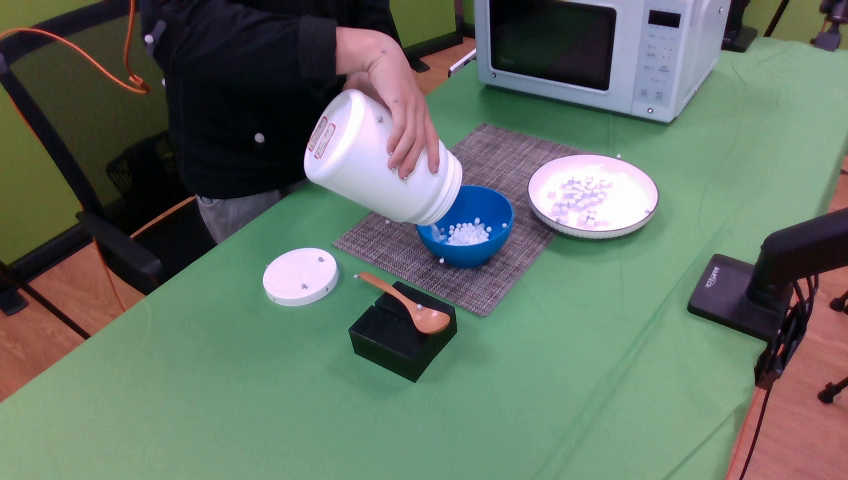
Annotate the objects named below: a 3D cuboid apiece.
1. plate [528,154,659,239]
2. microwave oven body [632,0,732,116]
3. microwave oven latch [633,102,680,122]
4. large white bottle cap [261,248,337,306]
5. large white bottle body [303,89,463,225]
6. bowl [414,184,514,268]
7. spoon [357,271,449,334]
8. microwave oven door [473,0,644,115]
[{"bbox_3d":[0.274,-0.069,0.993,0.209,0.038,0.208,-2,43,2],"label":"plate"},{"bbox_3d":[0.377,-0.463,1.267,0.438,0.261,0.327,21,49,30],"label":"microwave oven body"},{"bbox_3d":[0.443,-0.249,1.157,0.078,0.029,0.030,21,49,30],"label":"microwave oven latch"},{"bbox_3d":[-0.193,0.056,0.934,0.115,0.018,0.114,-4,41,4],"label":"large white bottle cap"},{"bbox_3d":[-0.051,-0.102,0.809,0.186,0.130,0.129,25,28,-31],"label":"large white bottle body"},{"bbox_3d":[0.063,-0.010,0.922,0.151,0.077,0.150,-4,40,4],"label":"bowl"},{"bbox_3d":[-0.034,0.078,0.812,0.042,0.022,0.192,-34,42,-25],"label":"spoon"},{"bbox_3d":[0.257,-0.396,1.199,0.353,0.245,0.039,21,48,29],"label":"microwave oven door"}]
